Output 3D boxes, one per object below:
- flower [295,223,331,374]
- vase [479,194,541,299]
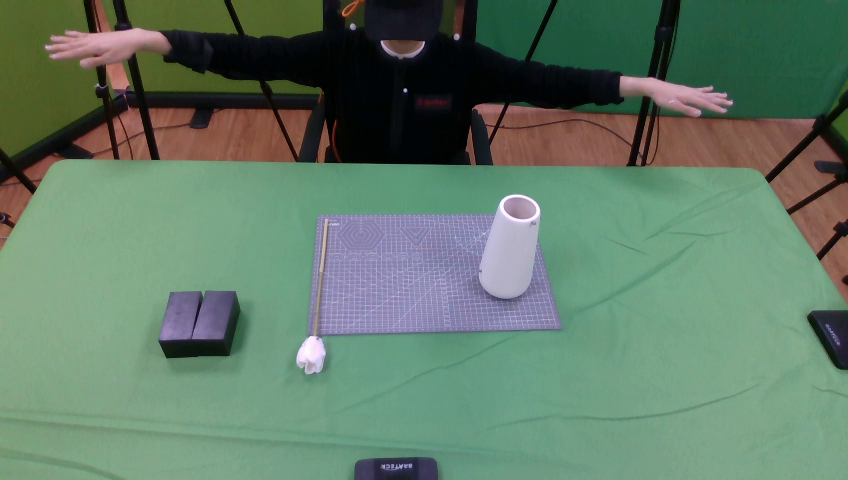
[{"bbox_3d":[-0.190,0.087,1.104,0.044,0.038,0.359,28,35,-23],"label":"flower"},{"bbox_3d":[0.152,0.015,1.066,0.098,0.201,0.097,1,47,-1],"label":"vase"}]
